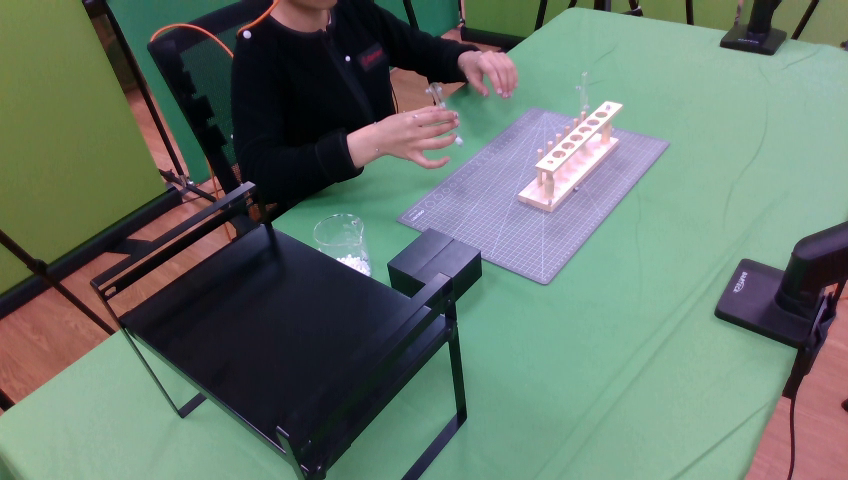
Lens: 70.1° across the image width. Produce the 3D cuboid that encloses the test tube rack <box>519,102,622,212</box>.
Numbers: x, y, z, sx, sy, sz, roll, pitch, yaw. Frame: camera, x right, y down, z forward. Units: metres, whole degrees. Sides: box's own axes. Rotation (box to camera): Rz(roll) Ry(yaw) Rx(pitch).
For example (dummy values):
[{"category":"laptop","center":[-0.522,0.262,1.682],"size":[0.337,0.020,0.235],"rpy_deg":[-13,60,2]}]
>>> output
[{"category":"test tube rack","center":[0.260,-0.155,1.065],"size":[0.066,0.085,0.243],"rpy_deg":[24,50,32]}]

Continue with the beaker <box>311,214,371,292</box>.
[{"category":"beaker","center":[-0.118,0.022,0.908],"size":[0.083,0.101,0.074],"rpy_deg":[26,51,32]}]

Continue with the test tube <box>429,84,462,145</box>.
[{"category":"test tube","center":[0.039,-0.210,1.029],"size":[0.017,0.151,0.017],"rpy_deg":[-9,59,16]}]

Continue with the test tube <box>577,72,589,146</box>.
[{"category":"test tube","center":[0.284,-0.233,1.084],"size":[0.017,0.151,0.017],"rpy_deg":[-6,44,6]}]
